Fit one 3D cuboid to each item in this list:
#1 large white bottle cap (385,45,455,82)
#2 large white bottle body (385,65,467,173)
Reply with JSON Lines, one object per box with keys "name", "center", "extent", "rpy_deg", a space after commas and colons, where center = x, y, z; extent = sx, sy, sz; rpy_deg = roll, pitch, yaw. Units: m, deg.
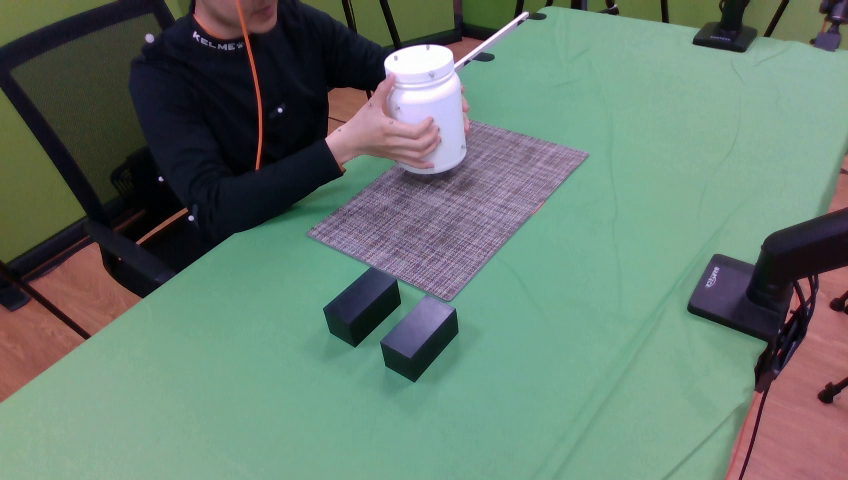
{"name": "large white bottle cap", "center": [-0.007, -0.293, 0.996], "extent": [0.115, 0.018, 0.114], "rpy_deg": [-5, 38, 4]}
{"name": "large white bottle body", "center": [0.004, -0.224, 1.050], "extent": [0.130, 0.185, 0.130], "rpy_deg": [-5, 39, 5]}
